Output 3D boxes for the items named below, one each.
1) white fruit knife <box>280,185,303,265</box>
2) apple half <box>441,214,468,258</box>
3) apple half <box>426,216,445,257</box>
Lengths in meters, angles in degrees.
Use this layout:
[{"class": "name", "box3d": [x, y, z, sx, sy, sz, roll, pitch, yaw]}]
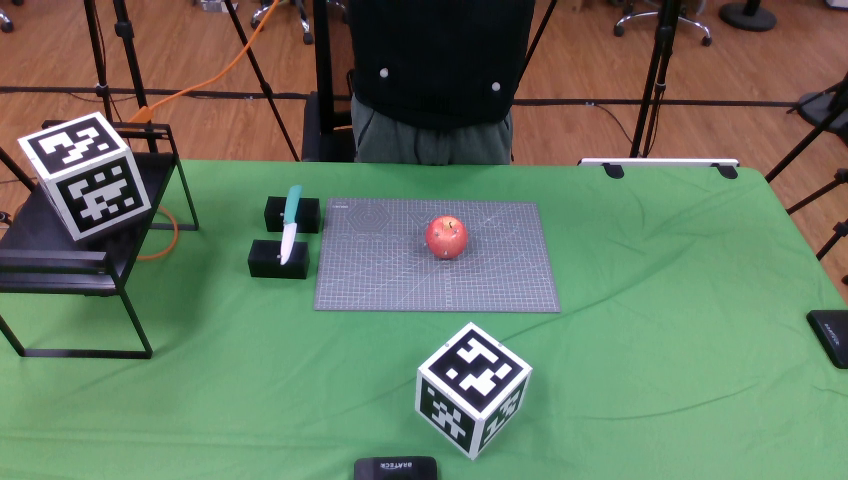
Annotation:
[{"class": "white fruit knife", "box3d": [-0.253, -0.032, 1.142, 0.027, 0.016, 0.206, 7, 46, -9]}, {"class": "apple half", "box3d": [0.058, -0.005, 1.162, 0.053, 0.075, 0.080, 4, 42, -7]}, {"class": "apple half", "box3d": [0.019, -0.005, 1.158, 0.033, 0.081, 0.081, 4, 46, -7]}]
